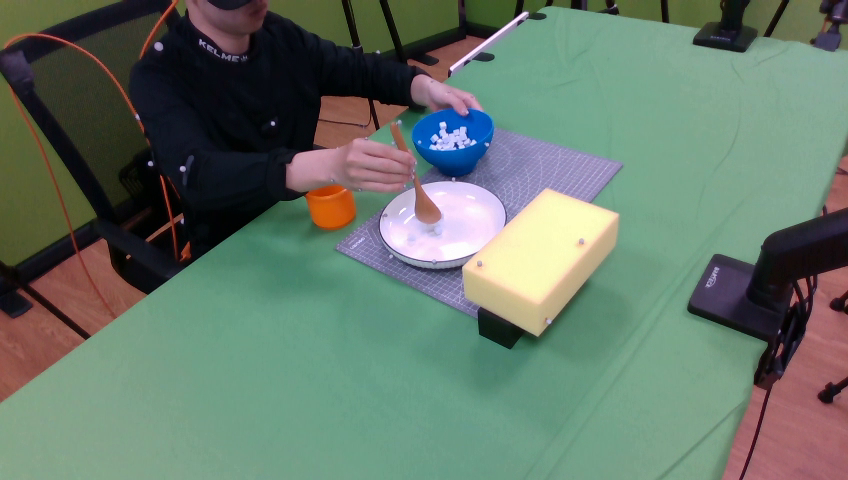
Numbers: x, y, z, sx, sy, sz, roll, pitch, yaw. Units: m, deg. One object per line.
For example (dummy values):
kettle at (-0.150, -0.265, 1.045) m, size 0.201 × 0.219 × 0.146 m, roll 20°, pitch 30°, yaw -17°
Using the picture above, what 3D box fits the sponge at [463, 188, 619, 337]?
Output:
sponge at (0.160, 0.022, 0.814) m, size 0.117 × 0.061 × 0.207 m, roll 25°, pitch 50°, yaw 32°

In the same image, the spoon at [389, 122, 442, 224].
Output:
spoon at (-0.016, -0.092, 0.887) m, size 0.041 × 0.195 × 0.021 m, roll -10°, pitch 39°, yaw 16°

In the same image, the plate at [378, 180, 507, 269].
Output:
plate at (0.031, -0.022, 0.974) m, size 0.209 × 0.038 × 0.208 m, roll -4°, pitch 40°, yaw 4°

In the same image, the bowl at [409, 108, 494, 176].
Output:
bowl at (0.055, -0.170, 1.100) m, size 0.151 × 0.077 × 0.150 m, roll -6°, pitch 40°, yaw 6°
